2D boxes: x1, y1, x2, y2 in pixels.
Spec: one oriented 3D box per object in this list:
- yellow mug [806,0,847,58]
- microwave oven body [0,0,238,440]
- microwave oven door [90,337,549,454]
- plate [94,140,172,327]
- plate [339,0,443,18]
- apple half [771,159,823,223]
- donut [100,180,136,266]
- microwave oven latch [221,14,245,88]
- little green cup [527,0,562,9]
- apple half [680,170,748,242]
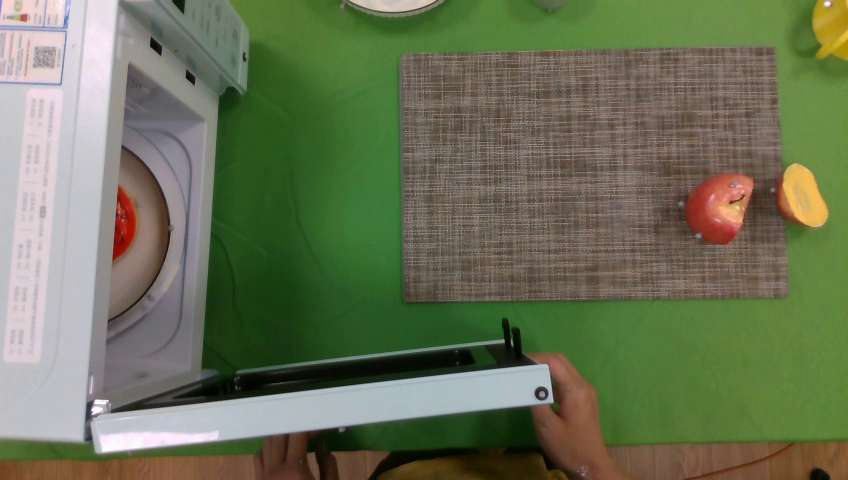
[{"bbox_3d":[0.502,-0.261,0.703,0.131,0.064,0.100,-43,86,-1],"label":"yellow mug"},{"bbox_3d":[-0.383,-0.057,0.601,0.326,0.260,0.441,2,86,1],"label":"microwave oven body"},{"bbox_3d":[-0.077,0.138,0.576,0.356,0.244,0.039,-7,85,0],"label":"microwave oven door"},{"bbox_3d":[-0.371,-0.008,0.649,0.209,0.038,0.208,0,86,0],"label":"plate"},{"bbox_3d":[-0.039,-0.366,0.734,0.208,0.039,0.207,0,86,1],"label":"plate"},{"bbox_3d":[0.420,-0.051,0.698,0.082,0.033,0.081,10,69,-27],"label":"apple half"},{"bbox_3d":[-0.355,-0.019,0.639,0.099,0.048,0.099,0,88,1],"label":"donut"},{"bbox_3d":[-0.227,-0.220,0.707,0.030,0.029,0.079,3,86,1],"label":"microwave oven latch"},{"bbox_3d":[0.147,-0.310,0.726,0.061,0.039,0.061,0,85,1],"label":"little green cup"},{"bbox_3d":[0.319,-0.042,0.682,0.053,0.075,0.081,18,90,7],"label":"apple half"}]
